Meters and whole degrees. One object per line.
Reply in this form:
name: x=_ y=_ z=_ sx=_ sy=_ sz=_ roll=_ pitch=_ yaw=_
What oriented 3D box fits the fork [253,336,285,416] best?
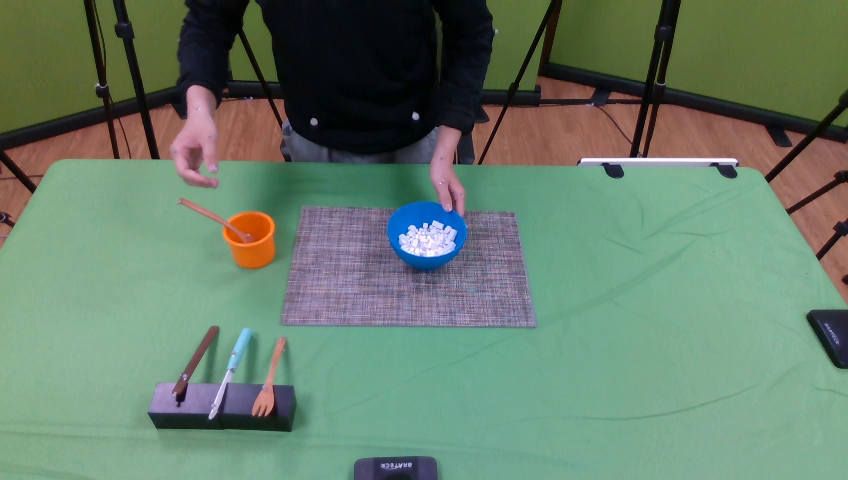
fork: x=-0.235 y=0.206 z=0.938 sx=0.028 sy=0.019 sz=0.206 roll=-3 pitch=26 yaw=-3

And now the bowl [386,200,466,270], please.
bowl: x=0.001 y=0.003 z=1.150 sx=0.151 sy=0.077 sz=0.150 roll=2 pitch=46 yaw=-2

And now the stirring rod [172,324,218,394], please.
stirring rod: x=-0.361 y=0.185 z=0.962 sx=0.014 sy=0.006 sz=0.175 roll=2 pitch=26 yaw=0

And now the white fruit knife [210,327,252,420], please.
white fruit knife: x=-0.298 y=0.200 z=0.937 sx=0.016 sy=0.027 sz=0.206 roll=0 pitch=30 yaw=0

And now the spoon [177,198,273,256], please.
spoon: x=-0.361 y=-0.025 z=1.107 sx=0.195 sy=0.021 sz=0.041 roll=39 pitch=34 yaw=-32
